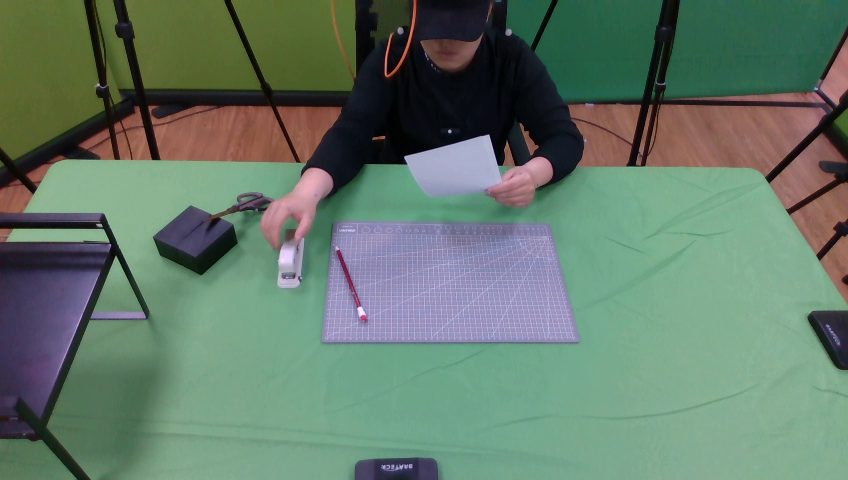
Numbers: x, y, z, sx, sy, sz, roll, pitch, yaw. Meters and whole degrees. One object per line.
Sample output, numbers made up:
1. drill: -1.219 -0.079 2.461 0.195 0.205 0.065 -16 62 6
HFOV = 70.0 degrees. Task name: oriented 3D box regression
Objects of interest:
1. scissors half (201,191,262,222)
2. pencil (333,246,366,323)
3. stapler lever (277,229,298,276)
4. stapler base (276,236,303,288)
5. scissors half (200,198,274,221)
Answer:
1. scissors half: -0.381 -0.066 1.198 0.040 0.013 0.175 25 28 9
2. pencil: -0.140 0.077 1.116 0.012 0.012 0.192 -14 48 -17
3. stapler lever: -0.254 0.016 1.128 0.027 0.040 0.117 0 45 -6
4. stapler base: -0.254 0.034 1.145 0.041 0.024 0.129 0 44 -6
5. scissors half: -0.365 -0.055 1.192 0.040 0.013 0.175 40 33 22
